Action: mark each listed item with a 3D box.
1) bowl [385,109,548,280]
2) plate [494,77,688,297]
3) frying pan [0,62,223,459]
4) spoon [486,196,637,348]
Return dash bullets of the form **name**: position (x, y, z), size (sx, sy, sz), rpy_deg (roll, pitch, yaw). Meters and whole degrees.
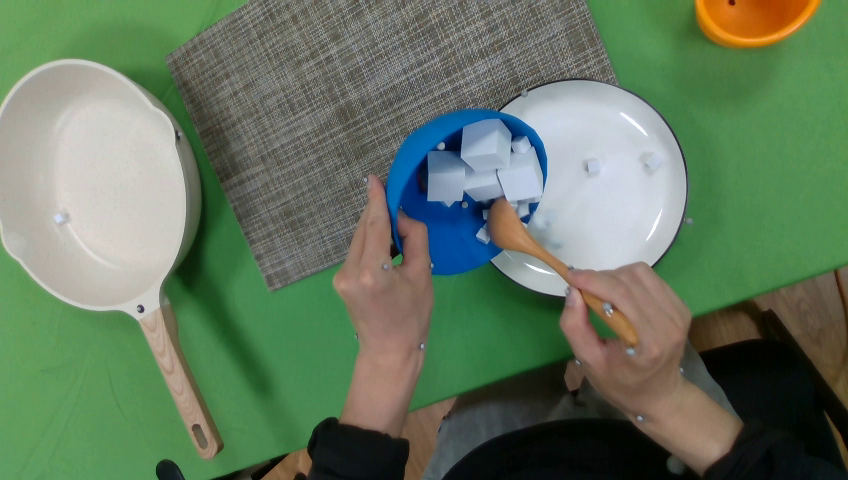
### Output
- **bowl**: position (0.023, -0.049, 0.519), size (0.076, 0.152, 0.152), rpy_deg (44, 115, 45)
- **plate**: position (0.141, -0.049, 0.584), size (0.207, 0.039, 0.208), rpy_deg (4, 104, 16)
- **frying pan**: position (-0.350, 0.032, 0.721), size (0.306, 0.103, 0.486), rpy_deg (-27, 83, 21)
- **spoon**: position (0.099, 0.019, 0.467), size (0.191, 0.022, 0.042), rpy_deg (46, 127, 47)
